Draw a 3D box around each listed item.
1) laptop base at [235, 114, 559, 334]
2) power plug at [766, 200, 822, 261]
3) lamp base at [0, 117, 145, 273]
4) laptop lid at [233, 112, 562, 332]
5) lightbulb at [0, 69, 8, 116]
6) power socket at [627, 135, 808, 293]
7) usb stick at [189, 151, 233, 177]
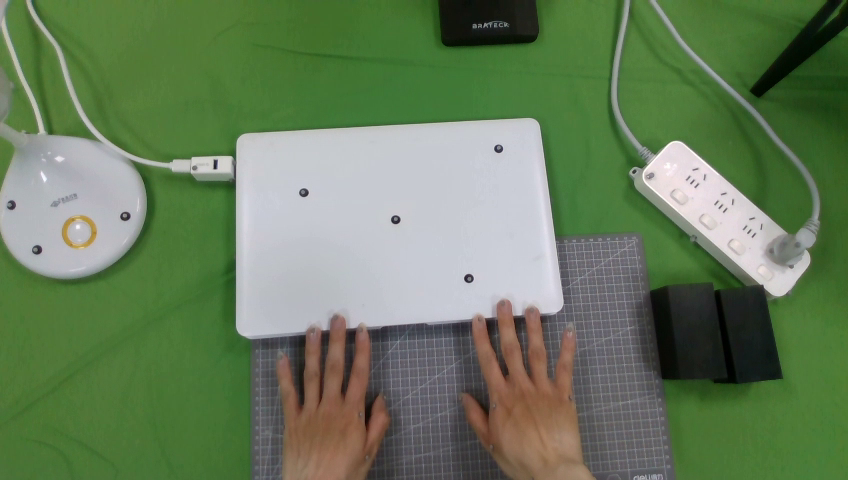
[{"bbox_3d":[-0.033,-0.023,0.693,0.355,0.023,0.234,-4,81,-3],"label":"laptop base"},{"bbox_3d":[0.415,-0.006,0.676,0.072,0.053,0.035,-35,81,-10],"label":"power plug"},{"bbox_3d":[-0.399,-0.068,0.602,0.160,0.181,0.178,-35,79,-9],"label":"lamp base"},{"bbox_3d":[-0.033,-0.027,0.673,0.357,0.013,0.240,-3,76,-3],"label":"laptop lid"},{"bbox_3d":[-0.300,-0.102,0.346,0.059,0.109,0.059,-19,57,31],"label":"lightbulb"},{"bbox_3d":[0.340,-0.031,0.702,0.226,0.033,0.072,43,80,7],"label":"power socket"},{"bbox_3d":[-0.232,-0.086,0.685,0.059,0.027,0.021,-1,72,-6],"label":"usb stick"}]
